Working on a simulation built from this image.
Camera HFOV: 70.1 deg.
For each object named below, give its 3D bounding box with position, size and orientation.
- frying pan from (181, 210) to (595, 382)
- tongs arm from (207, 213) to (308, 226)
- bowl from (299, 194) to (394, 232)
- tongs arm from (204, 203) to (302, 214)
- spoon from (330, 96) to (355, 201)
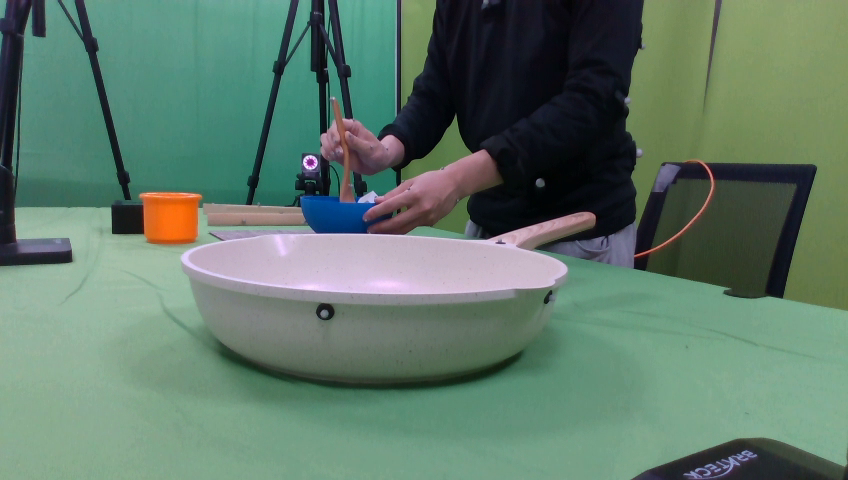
[{"bbox_3d":[0.034,0.019,0.557,0.305,0.102,0.490,10,19,42],"label":"frying pan"},{"bbox_3d":[-0.264,-0.046,1.297,0.390,0.028,0.028,-2,7,-32],"label":"tongs arm"},{"bbox_3d":[-0.123,-0.029,0.960,0.151,0.077,0.151,2,7,0],"label":"bowl"},{"bbox_3d":[-0.295,-0.062,1.370,0.386,0.026,0.050,1,9,-19],"label":"tongs arm"},{"bbox_3d":[-0.126,-0.126,0.946,0.021,0.193,0.042,3,15,27],"label":"spoon"}]
